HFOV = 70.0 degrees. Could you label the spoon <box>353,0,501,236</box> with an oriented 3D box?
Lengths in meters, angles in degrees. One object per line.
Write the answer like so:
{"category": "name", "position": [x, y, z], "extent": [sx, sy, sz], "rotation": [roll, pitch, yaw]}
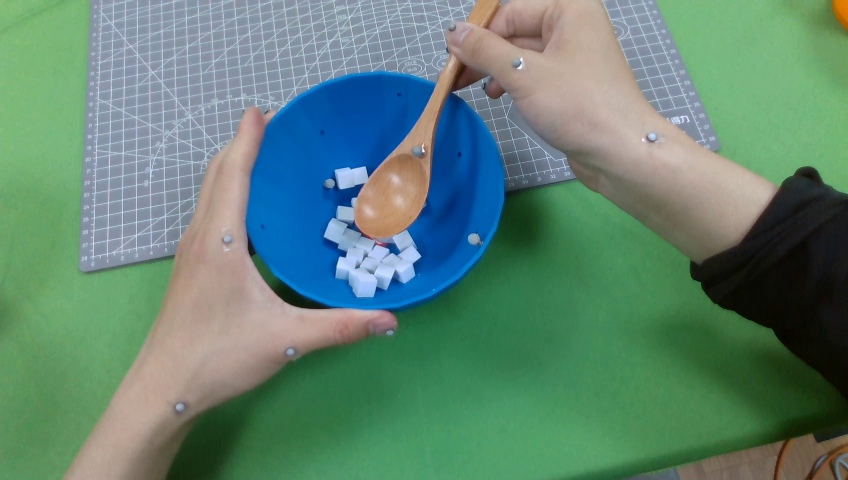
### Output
{"category": "spoon", "position": [0.014, -0.089, 0.345], "extent": [0.041, 0.022, 0.194], "rotation": [30, 96, 24]}

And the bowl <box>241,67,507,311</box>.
{"category": "bowl", "position": [-0.027, -0.021, 0.377], "extent": [0.151, 0.077, 0.150], "rotation": [-1, 70, 2]}
